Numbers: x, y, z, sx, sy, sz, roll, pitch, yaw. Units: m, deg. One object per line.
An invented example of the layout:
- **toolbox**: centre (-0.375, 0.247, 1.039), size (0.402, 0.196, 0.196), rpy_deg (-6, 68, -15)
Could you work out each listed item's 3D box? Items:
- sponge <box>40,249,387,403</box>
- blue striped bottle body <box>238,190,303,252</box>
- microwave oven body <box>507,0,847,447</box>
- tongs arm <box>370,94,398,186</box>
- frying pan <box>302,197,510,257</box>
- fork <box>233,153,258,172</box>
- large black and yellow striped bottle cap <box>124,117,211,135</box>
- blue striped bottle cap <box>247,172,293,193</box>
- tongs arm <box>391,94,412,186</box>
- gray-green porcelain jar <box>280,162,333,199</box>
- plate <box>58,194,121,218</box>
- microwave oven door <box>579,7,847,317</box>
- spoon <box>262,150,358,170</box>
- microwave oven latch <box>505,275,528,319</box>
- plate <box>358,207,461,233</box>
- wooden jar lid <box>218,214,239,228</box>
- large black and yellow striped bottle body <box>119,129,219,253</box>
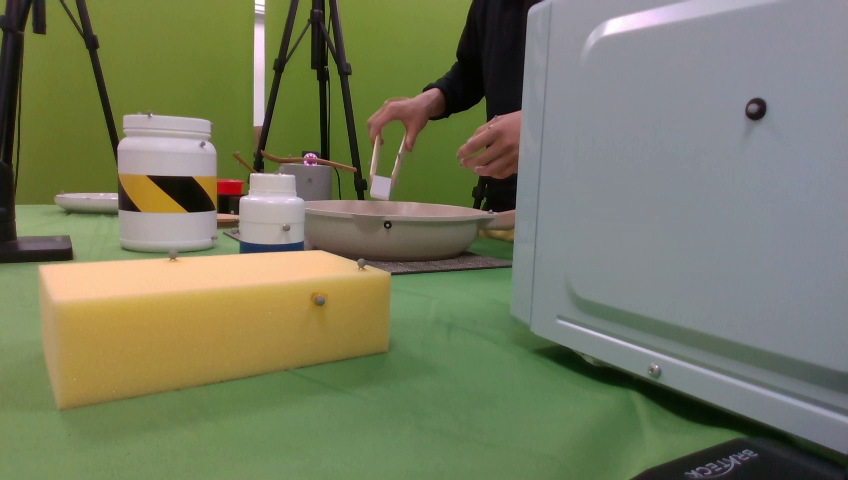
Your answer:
- **sponge**: centre (-0.142, 0.047, 0.420), size (0.208, 0.061, 0.117), rpy_deg (-3, 8, -36)
- **blue striped bottle body**: centre (-0.153, -0.007, 0.606), size (0.063, 0.120, 0.063), rpy_deg (2, 8, 0)
- **microwave oven body**: centre (0.331, -0.042, 0.425), size (0.444, 0.260, 0.324), rpy_deg (-2, 8, -31)
- **tongs arm**: centre (-0.077, -0.204, 1.165), size (0.028, 0.028, 0.387), rpy_deg (-5, 32, 6)
- **frying pan**: centre (0.051, -0.035, 0.915), size (0.487, 0.102, 0.307), rpy_deg (-5, 7, 11)
- **fork**: centre (-0.396, -0.143, 1.486), size (0.028, 0.018, 0.208), rpy_deg (21, -25, 45)
- **large black and yellow striped bottle cap**: centre (-0.366, -0.163, 0.866), size (0.115, 0.019, 0.115), rpy_deg (3, 7, 0)
- **blue striped bottle cap**: centre (-0.152, -0.057, 0.598), size (0.044, 0.020, 0.044), rpy_deg (3, 7, 0)
- **tongs arm**: centre (-0.054, -0.205, 1.164), size (0.051, 0.026, 0.384), rpy_deg (0, 33, 8)
- **gray-green porcelain jar**: centre (-0.238, -0.092, 1.221), size (0.106, 0.126, 0.106), rpy_deg (2, 7, 0)
- **plate**: centre (-0.671, -0.074, 1.310), size (0.209, 0.038, 0.209), rpy_deg (2, 8, 0)
- **microwave oven door**: centre (0.294, -0.067, 0.570), size (0.358, 0.243, 0.039), rpy_deg (-3, 9, -31)
- **spoon**: centre (-0.229, -0.162, 1.222), size (0.194, 0.021, 0.041), rpy_deg (3, 4, -16)
- **microwave oven latch**: centre (0.100, 0.041, 0.471), size (0.079, 0.029, 0.030), rpy_deg (-1, 7, -28)
- **plate**: centre (-0.030, -0.041, 1.214), size (0.208, 0.039, 0.207), rpy_deg (3, 7, 0)
- **wooden jar lid**: centre (-0.404, -0.037, 1.169), size (0.108, 0.020, 0.108), rpy_deg (3, 7, 0)
- **large black and yellow striped bottle body**: centre (-0.367, -0.080, 0.876), size (0.131, 0.184, 0.130), rpy_deg (1, 7, 0)
